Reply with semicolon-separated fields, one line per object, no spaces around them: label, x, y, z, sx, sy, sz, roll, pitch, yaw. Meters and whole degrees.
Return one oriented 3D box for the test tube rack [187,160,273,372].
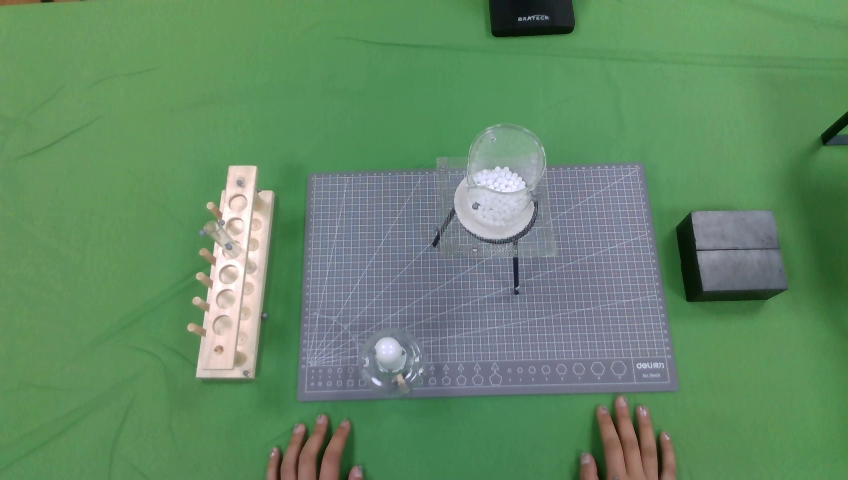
test tube rack;-0.236;0.031;0.728;0.067;0.086;0.240;1;71;1

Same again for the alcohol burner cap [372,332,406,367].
alcohol burner cap;-0.039;0.114;0.641;0.034;0.048;0.033;-2;67;6

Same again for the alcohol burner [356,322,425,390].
alcohol burner;-0.038;0.127;0.675;0.078;0.120;0.077;0;70;-1

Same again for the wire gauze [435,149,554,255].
wire gauze;0.075;-0.042;0.651;0.125;0.011;0.120;0;71;-2

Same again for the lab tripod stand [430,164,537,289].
lab tripod stand;0.080;-0.024;0.715;0.148;0.132;0.147;-1;69;2

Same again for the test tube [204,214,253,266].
test tube;-0.217;0.004;0.685;0.017;0.151;0.017;1;72;-1

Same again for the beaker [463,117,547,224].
beaker;0.074;-0.062;0.607;0.084;0.101;0.073;-34;74;-11
